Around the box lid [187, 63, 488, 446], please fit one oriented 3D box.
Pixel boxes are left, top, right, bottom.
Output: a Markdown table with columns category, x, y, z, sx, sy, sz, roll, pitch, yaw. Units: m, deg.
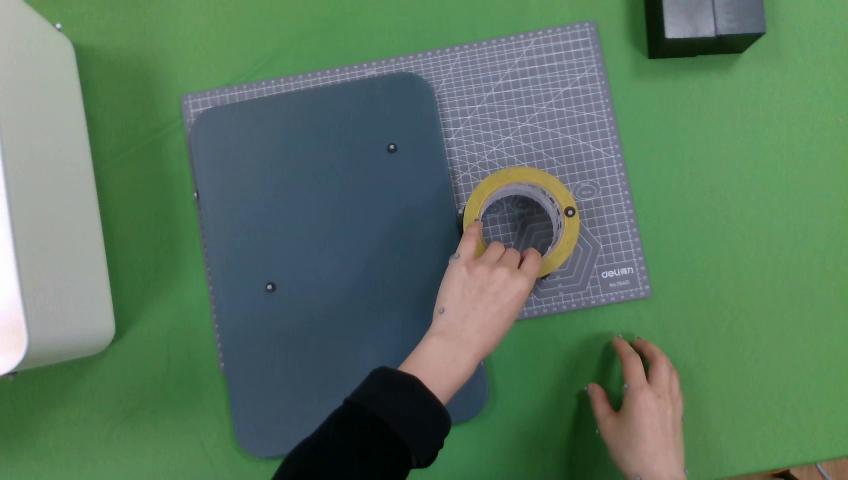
| category | x | y | z | sx | sy | sz | roll | pitch | yaw |
| --- | --- | --- | --- | --- | --- | --- | --- | --- | --- |
| box lid | -0.092 | 0.009 | 0.628 | 0.263 | 0.015 | 0.370 | -11 | 86 | 0 |

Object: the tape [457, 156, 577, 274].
| category | x | y | z | sx | sy | sz | roll | pitch | yaw |
| --- | --- | --- | --- | --- | --- | --- | --- | --- | --- |
| tape | 0.091 | -0.022 | 0.596 | 0.117 | 0.053 | 0.116 | 0 | 83 | 3 |

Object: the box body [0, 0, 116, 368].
| category | x | y | z | sx | sy | sz | roll | pitch | yaw |
| --- | --- | --- | --- | --- | --- | --- | --- | --- | --- |
| box body | -0.466 | -0.047 | 0.567 | 0.254 | 0.160 | 0.363 | -12 | 86 | 0 |
